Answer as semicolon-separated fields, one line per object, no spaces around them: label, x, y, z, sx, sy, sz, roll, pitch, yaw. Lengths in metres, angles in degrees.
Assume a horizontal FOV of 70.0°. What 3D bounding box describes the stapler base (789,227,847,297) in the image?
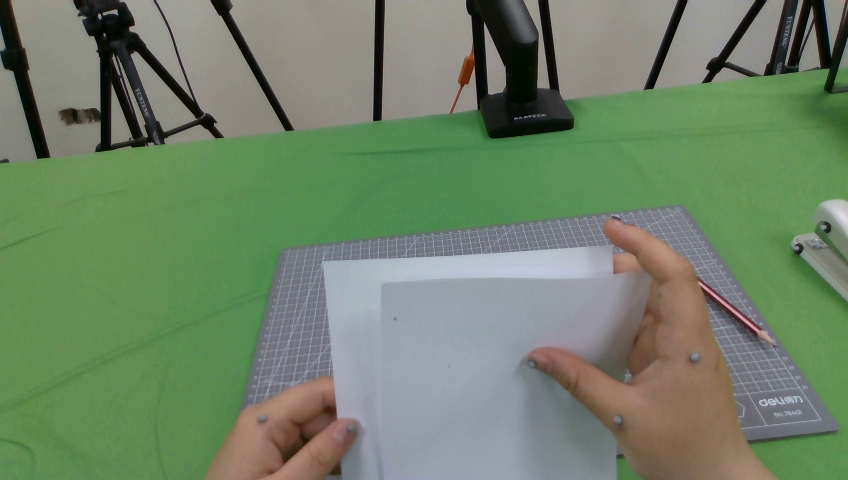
stapler base;0.389;0.023;0.552;0.041;0.025;0.129;-11;39;-2

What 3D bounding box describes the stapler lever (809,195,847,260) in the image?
stapler lever;0.387;0.004;0.535;0.027;0.040;0.117;-11;39;-2

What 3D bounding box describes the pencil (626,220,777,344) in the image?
pencil;0.251;0.034;0.565;0.012;0.012;0.192;-18;39;-14
